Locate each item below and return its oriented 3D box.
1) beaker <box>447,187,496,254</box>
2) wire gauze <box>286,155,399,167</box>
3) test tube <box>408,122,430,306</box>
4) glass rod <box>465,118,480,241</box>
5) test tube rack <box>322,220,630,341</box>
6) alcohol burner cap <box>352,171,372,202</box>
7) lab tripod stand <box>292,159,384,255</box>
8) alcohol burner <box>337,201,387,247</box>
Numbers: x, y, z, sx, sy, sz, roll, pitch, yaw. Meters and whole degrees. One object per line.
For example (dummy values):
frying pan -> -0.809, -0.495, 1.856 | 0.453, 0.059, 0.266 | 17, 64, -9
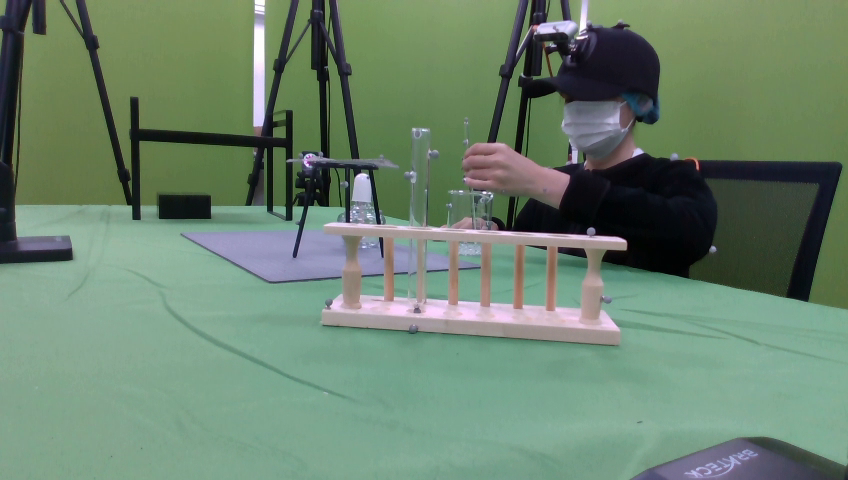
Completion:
beaker -> 0.076, -0.031, 0.949 | 0.074, 0.100, 0.083 | -5, 11, -42
wire gauze -> -0.101, -0.105, 0.788 | 0.121, 0.011, 0.125 | 4, 6, 6
test tube -> -0.005, -0.019, 0.489 | 0.017, 0.150, 0.017 | 1, 11, 0
glass rod -> 0.076, -0.091, 0.944 | 0.008, 0.200, 0.008 | -6, 21, 3
test tube rack -> 0.041, 0.029, 0.512 | 0.242, 0.085, 0.067 | 3, 7, 5
alcohol burner cap -> -0.096, -0.084, 0.951 | 0.034, 0.048, 0.034 | 6, 5, 0
lab tripod stand -> -0.105, -0.039, 0.797 | 0.148, 0.131, 0.148 | 2, 5, 0
alcohol burner -> -0.098, -0.049, 0.954 | 0.078, 0.119, 0.078 | 0, 7, 0
